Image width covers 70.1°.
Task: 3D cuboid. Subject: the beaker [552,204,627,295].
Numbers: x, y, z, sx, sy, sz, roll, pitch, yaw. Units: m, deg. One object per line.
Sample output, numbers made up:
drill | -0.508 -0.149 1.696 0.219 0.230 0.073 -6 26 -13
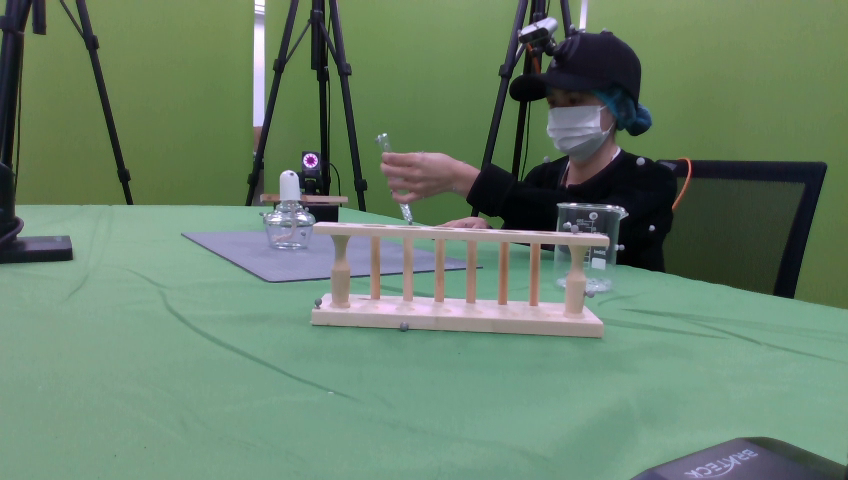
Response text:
beaker | 0.191 0.010 0.708 0.083 0.100 0.074 8 9 33

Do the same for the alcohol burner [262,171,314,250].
alcohol burner | -0.205 -0.045 0.913 0.078 0.119 0.078 1 9 0

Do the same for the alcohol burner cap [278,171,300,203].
alcohol burner cap | -0.203 -0.080 0.909 0.034 0.048 0.034 -1 3 0

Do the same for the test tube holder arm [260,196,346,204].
test tube holder arm | -0.239 -0.081 1.214 0.179 0.015 0.013 -1 0 -32

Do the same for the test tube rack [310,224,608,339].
test tube rack | 0.028 0.032 0.528 0.242 0.085 0.067 3 7 0

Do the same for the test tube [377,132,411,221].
test tube | -0.046 -0.099 0.962 0.017 0.150 0.017 -14 23 6

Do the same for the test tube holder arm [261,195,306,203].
test tube holder arm | -0.275 -0.081 1.185 0.088 0.015 0.010 -1 0 -32
